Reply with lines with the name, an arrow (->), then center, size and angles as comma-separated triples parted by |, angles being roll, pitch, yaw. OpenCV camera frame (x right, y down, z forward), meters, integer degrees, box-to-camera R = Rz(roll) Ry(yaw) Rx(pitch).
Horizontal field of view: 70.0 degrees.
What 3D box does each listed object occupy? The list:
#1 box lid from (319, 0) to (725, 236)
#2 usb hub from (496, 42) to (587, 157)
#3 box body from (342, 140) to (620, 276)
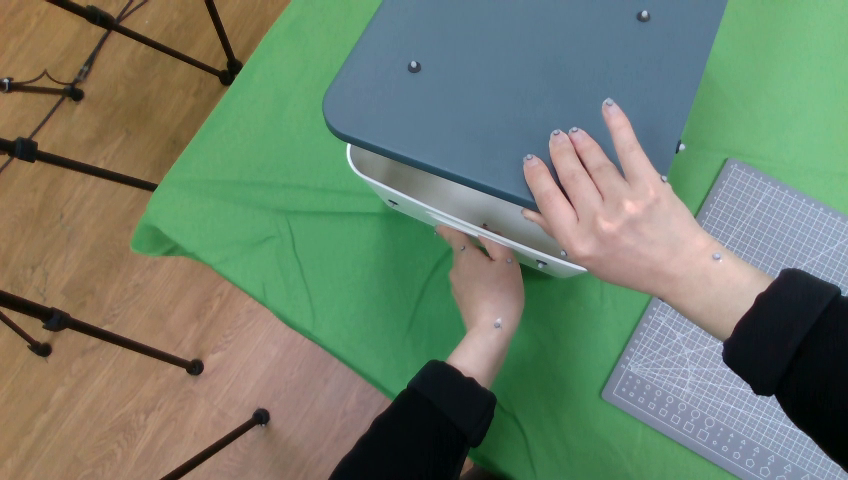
box lid -> 0.102, -0.193, 0.500 | 0.262, 0.015, 0.370 | 22, 69, 12
usb hub -> 0.131, -0.156, 0.674 | 0.049, 0.025, 0.125 | 29, 82, 11
box body -> 0.112, -0.168, 0.615 | 0.253, 0.161, 0.363 | 23, 83, 8
